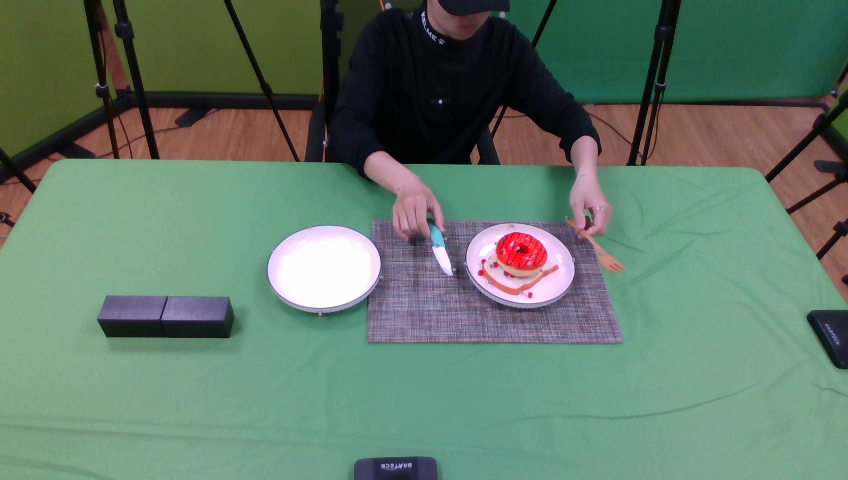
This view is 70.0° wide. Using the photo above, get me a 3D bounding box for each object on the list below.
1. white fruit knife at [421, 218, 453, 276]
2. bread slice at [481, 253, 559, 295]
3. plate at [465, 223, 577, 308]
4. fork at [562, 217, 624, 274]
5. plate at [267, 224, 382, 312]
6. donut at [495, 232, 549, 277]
[{"bbox_3d":[0.026,0.011,1.116,0.027,0.016,0.206,-11,32,-5],"label":"white fruit knife"},{"bbox_3d":[0.177,0.050,1.148,0.131,0.019,0.104,-32,55,-31],"label":"bread slice"},{"bbox_3d":[0.180,0.051,1.144,0.209,0.038,0.208,2,45,-2],"label":"plate"},{"bbox_3d":[0.311,0.007,1.137,0.028,0.018,0.206,21,24,-29],"label":"fork"},{"bbox_3d":[-0.182,0.055,1.120,0.208,0.039,0.206,2,46,-2],"label":"plate"},{"bbox_3d":[0.180,0.026,1.119,0.099,0.048,0.098,2,46,-2],"label":"donut"}]
